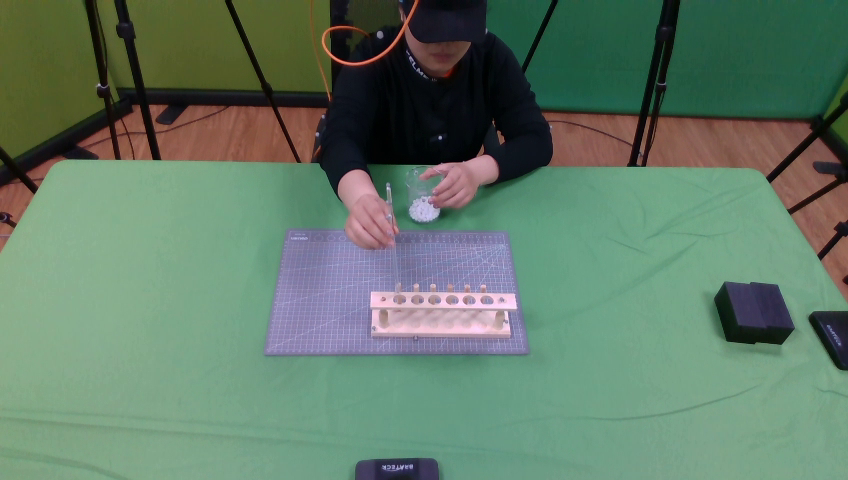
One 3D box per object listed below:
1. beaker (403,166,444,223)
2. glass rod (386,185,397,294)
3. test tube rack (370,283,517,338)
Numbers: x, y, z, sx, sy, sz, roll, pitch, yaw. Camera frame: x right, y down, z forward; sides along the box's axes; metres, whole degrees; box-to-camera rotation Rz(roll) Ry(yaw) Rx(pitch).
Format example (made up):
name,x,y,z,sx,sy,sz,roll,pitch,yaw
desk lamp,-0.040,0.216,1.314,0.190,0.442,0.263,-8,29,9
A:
name,x,y,z,sx,sy,sz,roll,pitch,yaw
beaker,0.001,-0.090,1.226,0.084,0.101,0.073,-15,51,-12
glass rod,-0.050,0.004,0.945,0.008,0.200,0.008,-1,33,1
test tube rack,0.030,0.117,1.041,0.242,0.085,0.066,1,46,-3
